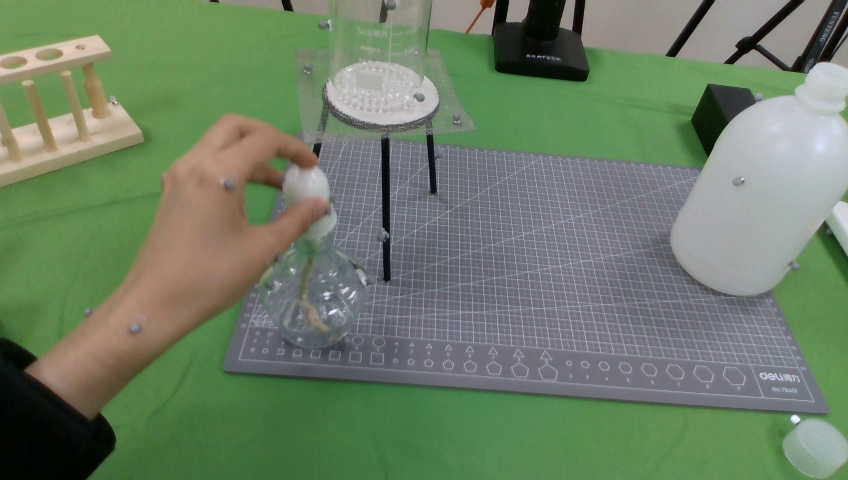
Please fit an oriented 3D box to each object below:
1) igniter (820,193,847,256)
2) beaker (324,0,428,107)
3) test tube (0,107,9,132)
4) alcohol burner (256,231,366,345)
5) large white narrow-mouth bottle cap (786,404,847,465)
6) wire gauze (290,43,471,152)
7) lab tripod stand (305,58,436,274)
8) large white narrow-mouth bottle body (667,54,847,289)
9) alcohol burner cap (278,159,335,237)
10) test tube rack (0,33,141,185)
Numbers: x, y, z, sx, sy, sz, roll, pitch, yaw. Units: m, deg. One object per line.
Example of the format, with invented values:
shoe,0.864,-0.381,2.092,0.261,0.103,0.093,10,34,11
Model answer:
igniter,0.408,0.054,0.524,0.057,0.025,0.274,13,44,-10
beaker,-0.037,-0.152,0.426,0.084,0.101,0.073,0,47,-8
test tube,-0.381,-0.152,0.508,0.017,0.151,0.017,5,41,-4
alcohol burner,-0.079,0.019,0.426,0.078,0.120,0.077,5,44,-5
large white narrow-mouth bottle cap,0.279,0.138,0.428,0.038,0.024,0.037,4,45,-3
wire gauze,-0.037,-0.115,0.459,0.122,0.011,0.123,-7,51,-12
lab tripod stand,-0.039,-0.067,0.503,0.148,0.132,0.147,5,46,-5
large white narrow-mouth bottle body,0.278,-0.055,0.492,0.102,0.196,0.101,3,45,-3
alcohol burner cap,-0.075,-0.028,0.378,0.034,0.048,0.033,0,48,0
test tube rack,-0.388,-0.099,0.525,0.242,0.086,0.066,-27,55,-30
